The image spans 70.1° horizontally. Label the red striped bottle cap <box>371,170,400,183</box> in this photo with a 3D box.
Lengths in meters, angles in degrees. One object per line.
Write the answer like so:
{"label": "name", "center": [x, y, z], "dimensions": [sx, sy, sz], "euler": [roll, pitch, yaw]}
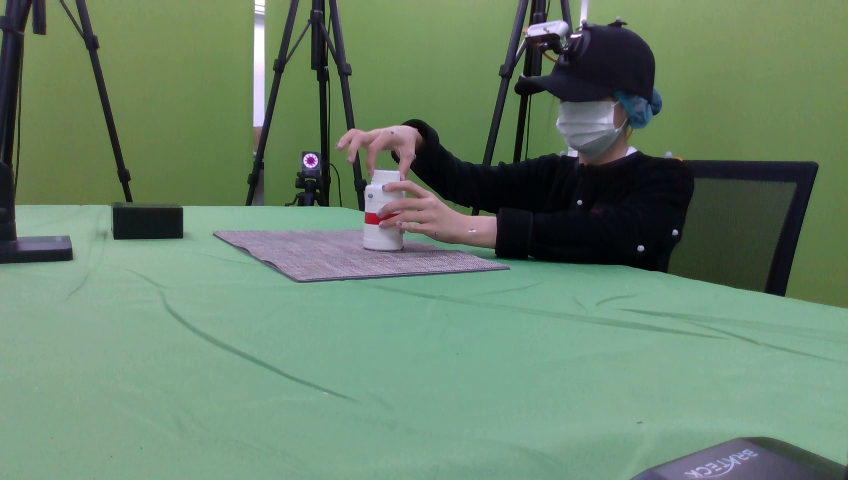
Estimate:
{"label": "red striped bottle cap", "center": [-0.058, -0.098, 0.925], "dimensions": [0.044, 0.017, 0.044], "euler": [4, 10, 0]}

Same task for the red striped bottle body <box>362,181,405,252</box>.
{"label": "red striped bottle body", "center": [-0.062, -0.044, 0.933], "dimensions": [0.063, 0.119, 0.063], "euler": [3, 8, 0]}
